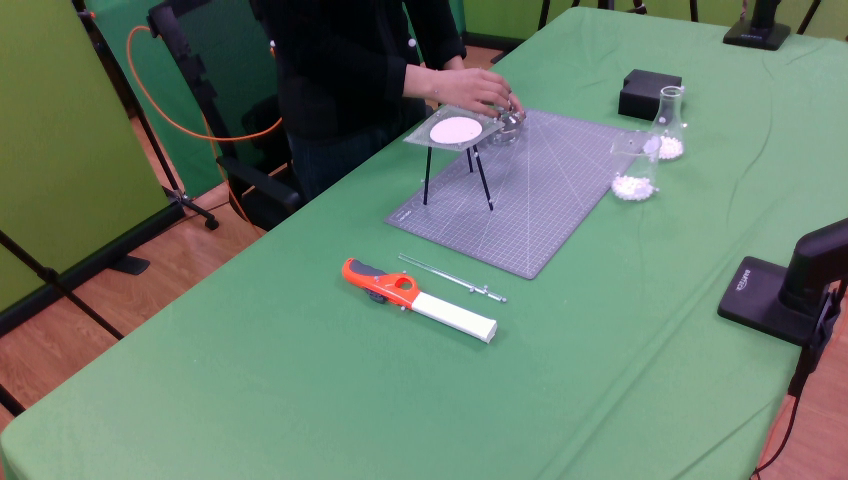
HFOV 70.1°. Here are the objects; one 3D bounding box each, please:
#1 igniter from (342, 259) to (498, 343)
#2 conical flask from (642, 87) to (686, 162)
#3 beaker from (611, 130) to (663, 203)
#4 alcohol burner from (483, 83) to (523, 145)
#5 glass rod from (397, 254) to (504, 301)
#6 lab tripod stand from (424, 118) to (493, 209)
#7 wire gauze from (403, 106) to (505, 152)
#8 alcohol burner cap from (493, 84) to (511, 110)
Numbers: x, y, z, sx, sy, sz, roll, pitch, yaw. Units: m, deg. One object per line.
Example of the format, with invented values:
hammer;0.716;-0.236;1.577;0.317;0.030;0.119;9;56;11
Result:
igniter;-0.017;0.084;0.883;0.274;0.025;0.057;20;59;31
conical flask;0.429;-0.206;1.067;0.075;0.122;0.075;-6;40;6
beaker;0.346;-0.118;0.998;0.084;0.101;0.073;-17;40;-7
alcohol burner;0.152;-0.246;1.170;0.078;0.120;0.077;-7;39;6
glass rod;0.036;0.054;0.922;0.198;0.008;0.008;22;50;31
lab tripod stand;0.061;-0.133;1.038;0.148;0.132;0.147;-6;38;6
wire gauze;0.049;-0.181;0.992;0.120;0.011;0.125;23;48;34
alcohol burner cap;0.146;-0.273;1.147;0.034;0.048;0.033;-11;40;10
